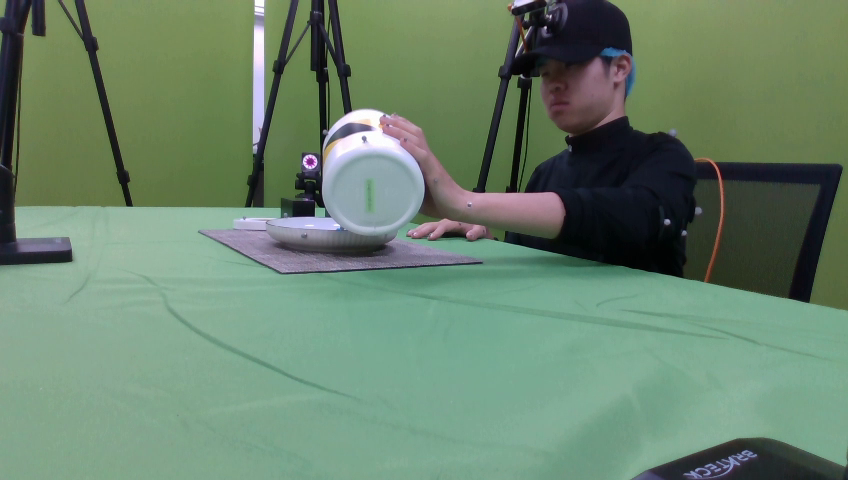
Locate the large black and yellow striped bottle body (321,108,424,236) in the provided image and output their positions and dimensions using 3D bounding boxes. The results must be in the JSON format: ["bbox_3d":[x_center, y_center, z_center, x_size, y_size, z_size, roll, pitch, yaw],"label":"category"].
[{"bbox_3d":[-0.075,-0.102,0.836,0.131,0.131,0.183,2,31,-9],"label":"large black and yellow striped bottle body"}]

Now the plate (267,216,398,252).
[{"bbox_3d":[-0.145,-0.010,0.967,0.208,0.039,0.207,2,7,0],"label":"plate"}]

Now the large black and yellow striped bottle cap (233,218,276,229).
[{"bbox_3d":[-0.311,-0.032,1.172,0.115,0.019,0.115,1,4,0],"label":"large black and yellow striped bottle cap"}]
